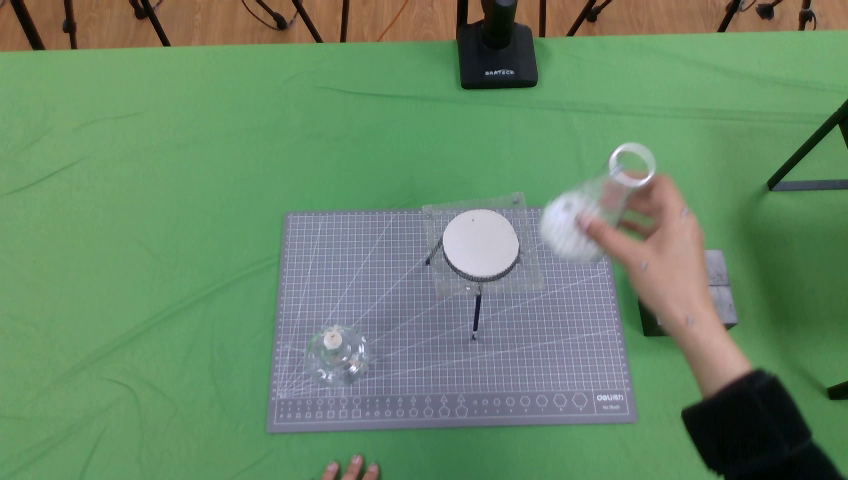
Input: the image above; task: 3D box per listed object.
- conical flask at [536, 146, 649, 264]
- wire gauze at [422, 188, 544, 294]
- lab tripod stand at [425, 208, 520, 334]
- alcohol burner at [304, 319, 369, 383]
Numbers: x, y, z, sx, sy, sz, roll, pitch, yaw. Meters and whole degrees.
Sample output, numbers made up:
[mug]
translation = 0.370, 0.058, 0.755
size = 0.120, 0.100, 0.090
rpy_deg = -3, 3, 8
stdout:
[conical flask]
translation = 0.151, -0.034, 0.529
size = 0.075, 0.122, 0.074
rpy_deg = 4, 65, -9
[wire gauze]
translation = 0.066, 0.001, 0.687
size = 0.125, 0.011, 0.120
rpy_deg = -5, 66, -4
[lab tripod stand]
translation = 0.067, 0.026, 0.749
size = 0.148, 0.132, 0.147
rpy_deg = 1, 64, -1
[alcohol burner]
translation = -0.104, 0.126, 0.713
size = 0.078, 0.120, 0.077
rpy_deg = 1, 64, -2
